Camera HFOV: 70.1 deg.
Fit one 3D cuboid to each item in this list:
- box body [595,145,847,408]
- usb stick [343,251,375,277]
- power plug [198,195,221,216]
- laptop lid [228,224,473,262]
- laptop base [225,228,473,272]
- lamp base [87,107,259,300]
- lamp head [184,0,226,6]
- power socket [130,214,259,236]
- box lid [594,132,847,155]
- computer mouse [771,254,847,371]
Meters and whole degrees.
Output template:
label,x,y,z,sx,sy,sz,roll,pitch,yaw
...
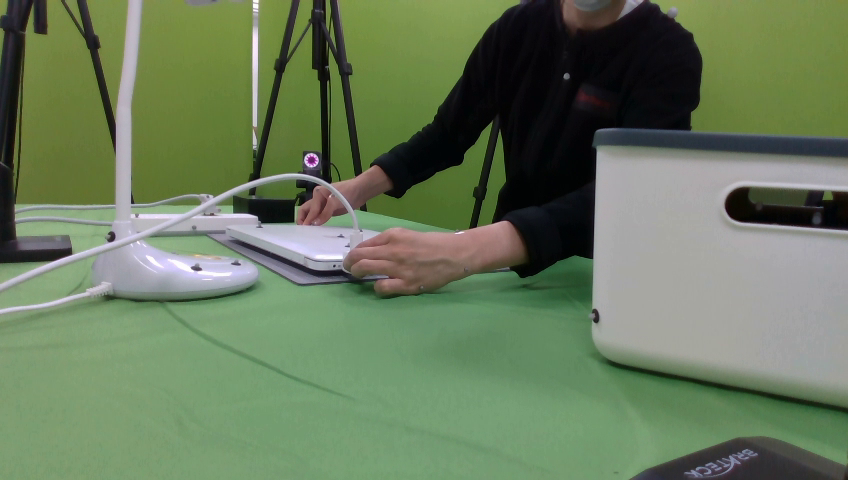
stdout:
label,x,y,z,sx,sy,sz,roll,pitch,yaw
box body,0.309,0.007,0.509,0.253,0.160,0.366,6,8,29
usb stick,-0.077,0.026,0.685,0.021,0.027,0.059,-4,2,-30
power plug,-0.385,-0.055,1.088,0.035,0.052,0.072,-1,6,-24
laptop lid,-0.123,0.000,0.888,0.243,0.013,0.355,1,7,-33
laptop base,-0.125,0.011,0.889,0.237,0.023,0.352,1,6,-35
lamp base,-0.254,-0.039,0.603,0.160,0.180,0.179,5,10,18
lamp head,-0.229,-0.320,0.627,0.112,0.112,0.123,6,-35,26
power socket,-0.397,-0.028,1.048,0.228,0.032,0.072,-3,7,-35
box lid,0.310,-0.066,0.499,0.262,0.015,0.373,7,8,29
computer mouse,0.344,0.057,0.519,0.063,0.041,0.117,12,47,4
